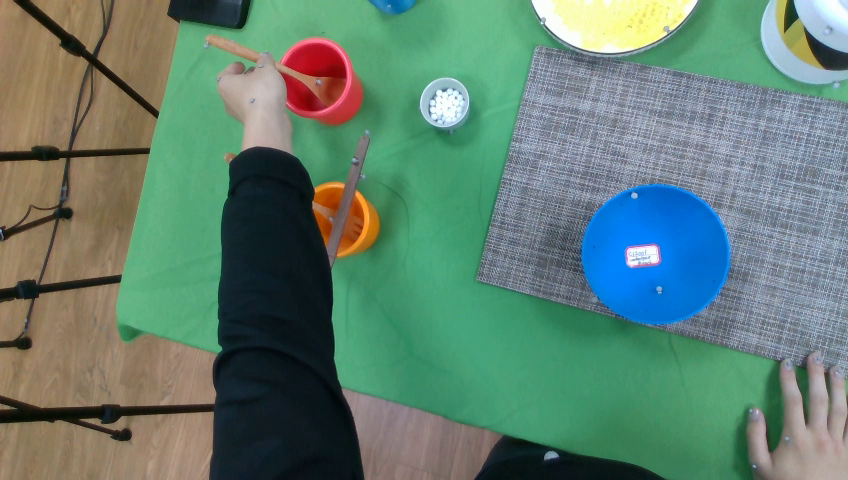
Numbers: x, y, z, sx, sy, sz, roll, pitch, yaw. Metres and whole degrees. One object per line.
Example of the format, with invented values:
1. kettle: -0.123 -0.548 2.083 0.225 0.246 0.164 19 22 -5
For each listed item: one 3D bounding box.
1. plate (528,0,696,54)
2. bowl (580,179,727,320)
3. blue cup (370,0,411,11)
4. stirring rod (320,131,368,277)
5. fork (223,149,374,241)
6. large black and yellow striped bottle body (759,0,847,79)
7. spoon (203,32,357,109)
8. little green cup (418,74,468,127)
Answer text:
1. plate: 0.223 -0.321 0.722 0.209 0.038 0.209 0 88 11
2. bowl: 0.250 0.012 0.680 0.151 0.077 0.151 0 88 12
3. blue cup: -0.050 -0.331 0.742 0.092 0.100 0.092 -1 88 13
4. stirring rod: -0.094 -0.043 0.714 0.014 0.006 0.176 15 91 13
5. fork: -0.146 -0.053 0.727 0.209 0.018 0.028 31 97 -33
6. large black and yellow striped bottle body: 0.433 -0.250 0.604 0.130 0.184 0.130 0 87 12
7. spoon: -0.171 -0.210 0.741 0.195 0.021 0.041 19 94 -32
8. little green cup: 0.026 -0.171 0.754 0.061 0.039 0.061 -1 88 12
